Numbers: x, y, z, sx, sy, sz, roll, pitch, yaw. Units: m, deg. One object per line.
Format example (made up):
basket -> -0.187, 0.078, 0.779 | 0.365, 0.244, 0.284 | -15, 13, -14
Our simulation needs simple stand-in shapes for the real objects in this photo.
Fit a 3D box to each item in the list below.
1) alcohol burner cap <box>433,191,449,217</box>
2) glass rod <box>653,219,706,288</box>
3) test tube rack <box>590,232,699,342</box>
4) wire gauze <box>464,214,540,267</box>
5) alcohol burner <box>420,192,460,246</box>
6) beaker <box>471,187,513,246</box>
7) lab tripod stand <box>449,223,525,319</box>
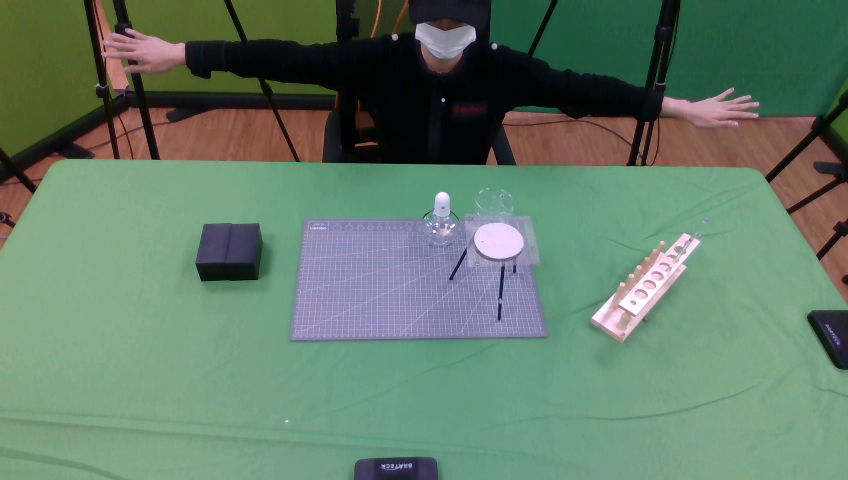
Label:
alcohol burner cap -> 0.033, -0.070, 1.150 | 0.034, 0.048, 0.033 | 0, 44, 0
glass rod -> 0.444, 0.032, 1.063 | 0.008, 0.200, 0.008 | 5, 49, -6
test tube rack -> 0.407, 0.074, 1.112 | 0.066, 0.085, 0.242 | 35, 53, 26
wire gauze -> 0.131, -0.002, 1.034 | 0.121, 0.011, 0.124 | 1, 45, -2
alcohol burner -> 0.032, -0.046, 1.176 | 0.078, 0.120, 0.077 | 2, 44, -1
beaker -> 0.134, -0.042, 1.190 | 0.083, 0.101, 0.074 | 34, 53, 25
lab tripod stand -> 0.120, 0.046, 1.080 | 0.148, 0.132, 0.147 | 1, 47, -1
